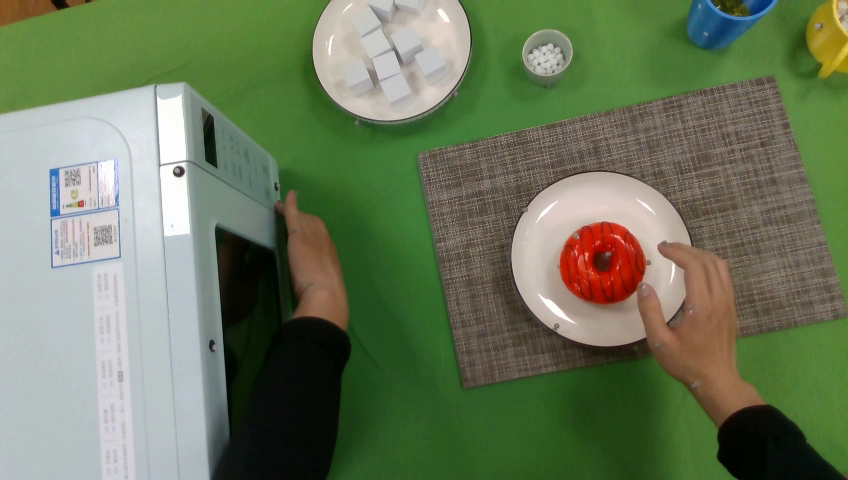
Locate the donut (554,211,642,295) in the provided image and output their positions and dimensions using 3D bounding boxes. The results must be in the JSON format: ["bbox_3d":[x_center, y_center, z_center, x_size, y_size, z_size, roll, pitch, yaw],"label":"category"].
[{"bbox_3d":[0.201,0.015,0.702,0.099,0.048,0.099,-1,85,6],"label":"donut"}]

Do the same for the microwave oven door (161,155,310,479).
[{"bbox_3d":[-0.187,0.115,0.625,0.039,0.245,0.354,-9,81,5],"label":"microwave oven door"}]

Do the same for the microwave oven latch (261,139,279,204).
[{"bbox_3d":[-0.201,-0.084,0.758,0.030,0.029,0.079,-9,82,5],"label":"microwave oven latch"}]

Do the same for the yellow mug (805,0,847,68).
[{"bbox_3d":[0.505,-0.256,0.707,0.099,0.064,0.131,37,89,10],"label":"yellow mug"}]

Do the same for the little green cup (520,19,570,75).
[{"bbox_3d":[0.151,-0.239,0.759,0.061,0.039,0.061,-1,82,7],"label":"little green cup"}]

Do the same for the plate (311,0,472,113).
[{"bbox_3d":[-0.041,-0.260,0.784,0.207,0.039,0.207,-1,82,6],"label":"plate"}]

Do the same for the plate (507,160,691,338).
[{"bbox_3d":[0.202,0.010,0.715,0.209,0.038,0.208,-1,82,7],"label":"plate"}]

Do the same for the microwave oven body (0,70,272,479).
[{"bbox_3d":[-0.335,0.096,0.650,0.326,0.261,0.440,-9,82,5],"label":"microwave oven body"}]

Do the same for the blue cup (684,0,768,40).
[{"bbox_3d":[0.351,-0.286,0.711,0.092,0.100,0.092,-1,83,5],"label":"blue cup"}]
